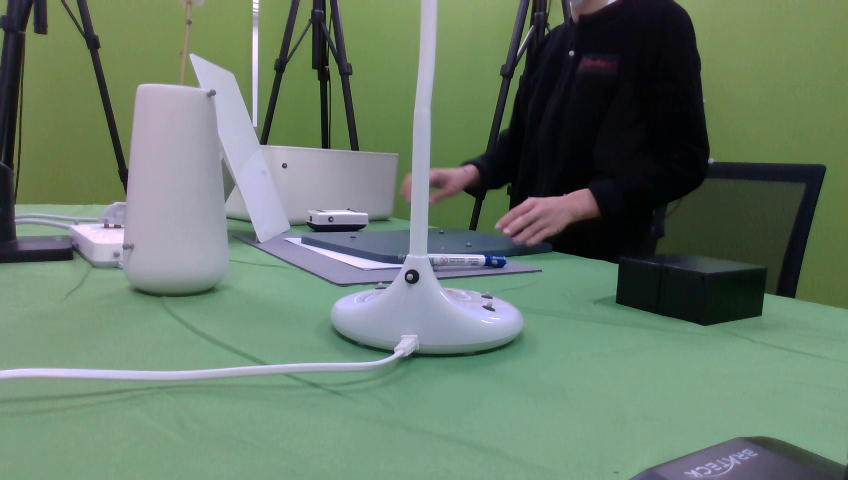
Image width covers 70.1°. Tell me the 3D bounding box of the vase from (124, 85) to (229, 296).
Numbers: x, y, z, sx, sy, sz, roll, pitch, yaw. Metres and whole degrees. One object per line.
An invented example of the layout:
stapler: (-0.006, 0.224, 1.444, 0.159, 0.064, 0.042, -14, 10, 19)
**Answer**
vase: (-0.244, -0.047, 0.598, 0.098, 0.200, 0.098, 3, 8, 0)

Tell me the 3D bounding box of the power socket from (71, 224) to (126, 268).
power socket: (-0.409, 0.004, 0.793, 0.072, 0.032, 0.225, -2, 8, -37)

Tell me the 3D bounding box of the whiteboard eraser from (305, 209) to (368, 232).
whiteboard eraser: (-0.168, -0.038, 1.172, 0.113, 0.042, 0.055, -2, 8, -35)

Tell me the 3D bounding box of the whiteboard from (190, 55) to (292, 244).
whiteboard: (-0.363, -0.129, 1.028, 0.144, 0.305, 0.217, -18, 7, 3)

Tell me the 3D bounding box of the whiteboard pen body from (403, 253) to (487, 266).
whiteboard pen body: (0.040, 0.026, 0.785, 0.141, 0.017, 0.017, 1, 7, -24)

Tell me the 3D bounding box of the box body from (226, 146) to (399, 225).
box body: (-0.264, -0.129, 1.380, 0.253, 0.160, 0.366, 8, 9, 39)

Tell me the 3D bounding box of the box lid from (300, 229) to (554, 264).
box lid: (0.011, 0.006, 0.999, 0.374, 0.015, 0.262, -3, 9, -43)

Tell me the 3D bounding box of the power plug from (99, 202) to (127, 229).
power plug: (-0.415, -0.026, 0.848, 0.073, 0.052, 0.035, 6, 5, -28)

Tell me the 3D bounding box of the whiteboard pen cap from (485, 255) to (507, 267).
whiteboard pen cap: (0.093, 0.028, 0.810, 0.033, 0.018, 0.018, 1, 7, -24)

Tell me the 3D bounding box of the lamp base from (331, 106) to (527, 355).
lamp base: (0.006, -0.012, 0.478, 0.161, 0.180, 0.179, 2, 10, 2)

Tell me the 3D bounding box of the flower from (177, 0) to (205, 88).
flower: (-0.243, -0.131, 0.609, 0.044, 0.361, 0.038, -5, -12, 11)
